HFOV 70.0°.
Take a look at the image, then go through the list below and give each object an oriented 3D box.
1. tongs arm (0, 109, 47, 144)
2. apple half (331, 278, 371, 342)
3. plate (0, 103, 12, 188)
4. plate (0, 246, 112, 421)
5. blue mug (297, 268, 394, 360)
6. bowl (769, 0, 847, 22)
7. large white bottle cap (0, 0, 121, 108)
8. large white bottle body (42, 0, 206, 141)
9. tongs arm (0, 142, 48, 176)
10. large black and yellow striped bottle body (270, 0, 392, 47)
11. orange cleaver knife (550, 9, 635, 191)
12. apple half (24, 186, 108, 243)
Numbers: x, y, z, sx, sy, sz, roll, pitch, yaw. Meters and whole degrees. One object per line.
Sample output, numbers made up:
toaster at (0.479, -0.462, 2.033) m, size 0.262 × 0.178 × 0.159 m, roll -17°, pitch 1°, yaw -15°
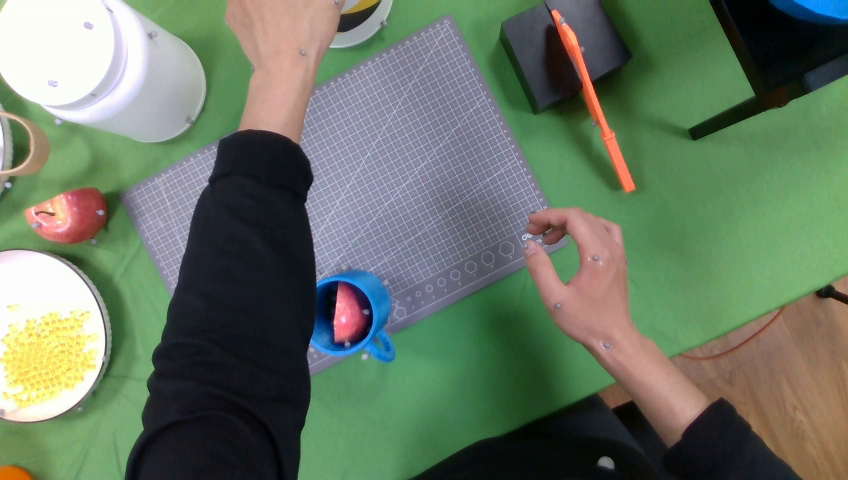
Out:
tongs arm at (-0.613, -0.173, 0.694) m, size 0.387 × 0.028 × 0.028 m, roll 16°, pitch 87°, yaw 5°
apple half at (-0.074, 0.076, 0.663) m, size 0.032 × 0.081 × 0.081 m, roll 4°, pitch 92°, yaw 11°
plate at (-0.590, -0.115, 0.726) m, size 0.207 × 0.039 × 0.207 m, roll 0°, pitch 93°, yaw 3°
plate at (-0.473, 0.110, 0.728) m, size 0.209 × 0.038 × 0.209 m, roll 0°, pitch 93°, yaw 4°
blue mug at (-0.075, 0.086, 0.668) m, size 0.082 × 0.106 × 0.116 m, roll -42°, pitch 89°, yaw 4°
bowl at (0.312, -0.237, 0.470) m, size 0.151 × 0.077 × 0.151 m, roll 0°, pitch 92°, yaw 4°
large white bottle cap at (-0.334, -0.179, 0.551) m, size 0.115 × 0.018 × 0.115 m, roll 0°, pitch 92°, yaw 4°
large white bottle body at (-0.327, -0.181, 0.635) m, size 0.130 × 0.184 × 0.130 m, roll 0°, pitch 91°, yaw 4°
tongs arm at (-0.622, -0.090, 0.697) m, size 0.384 × 0.026 × 0.050 m, roll 2°, pitch 89°, yaw 5°
large black and yellow striped bottle body at (-0.107, -0.286, 0.619) m, size 0.131 × 0.184 × 0.130 m, roll 0°, pitch 91°, yaw 4°
orange cleaver knife at (0.183, -0.149, 0.658) m, size 0.012 × 0.076 × 0.213 m, roll -26°, pitch 117°, yaw 13°
apple half at (-0.406, -0.025, 0.702) m, size 0.081 × 0.074 × 0.053 m, roll -23°, pitch 94°, yaw 0°
